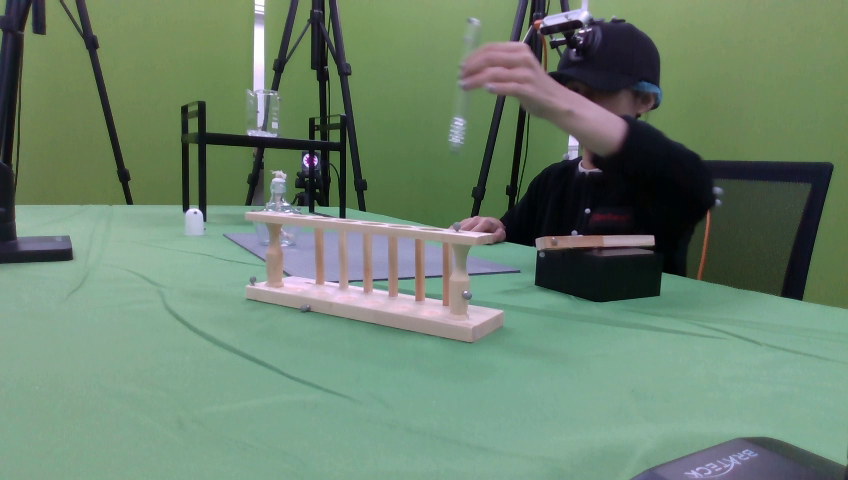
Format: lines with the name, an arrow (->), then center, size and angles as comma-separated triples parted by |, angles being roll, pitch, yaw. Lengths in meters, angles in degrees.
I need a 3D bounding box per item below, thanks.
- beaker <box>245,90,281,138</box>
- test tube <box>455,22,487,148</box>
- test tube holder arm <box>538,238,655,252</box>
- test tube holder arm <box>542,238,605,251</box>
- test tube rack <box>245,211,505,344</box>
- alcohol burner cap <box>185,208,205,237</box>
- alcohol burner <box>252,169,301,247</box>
beaker -> -0.354, -0.275, 1.322 | 0.074, 0.100, 0.084 | 4, 8, 12
test tube -> 0.056, -0.184, 0.722 | 0.017, 0.150, 0.017 | 9, 2, 0
test tube holder arm -> 0.202, 0.005, 0.695 | 0.179, 0.015, 0.013 | 0, -2, -32
test tube holder arm -> 0.166, 0.005, 0.666 | 0.088, 0.015, 0.010 | 0, -2, -32
test tube rack -> -0.049, 0.024, 0.547 | 0.241, 0.085, 0.067 | 7, 8, 29
alcohol burner cap -> -0.391, -0.031, 1.032 | 0.034, 0.048, 0.034 | 3, 8, 0
alcohol burner -> -0.228, -0.050, 0.936 | 0.078, 0.119, 0.078 | 1, 7, 0
